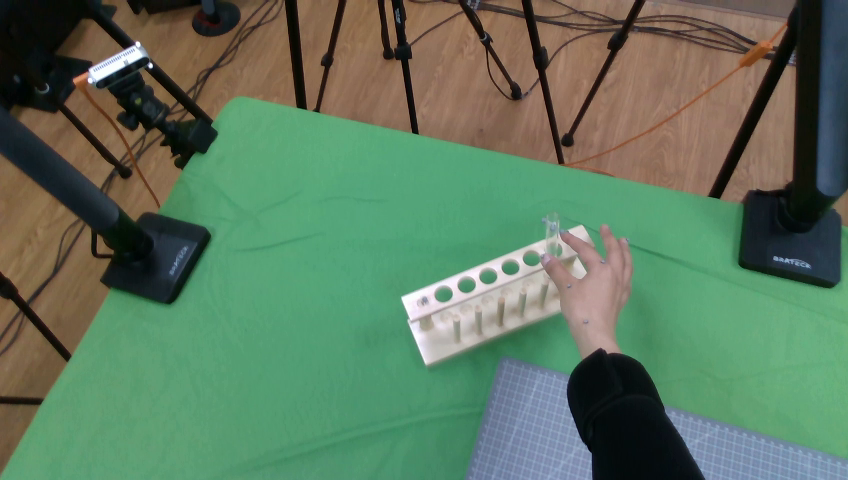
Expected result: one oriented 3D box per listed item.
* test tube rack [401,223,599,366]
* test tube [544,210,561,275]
[{"bbox_3d":[0.099,0.069,0.753,0.242,0.086,0.066,-21,61,-7],"label":"test tube rack"},{"bbox_3d":[0.153,0.007,0.726,0.017,0.151,0.017,-4,62,8],"label":"test tube"}]
